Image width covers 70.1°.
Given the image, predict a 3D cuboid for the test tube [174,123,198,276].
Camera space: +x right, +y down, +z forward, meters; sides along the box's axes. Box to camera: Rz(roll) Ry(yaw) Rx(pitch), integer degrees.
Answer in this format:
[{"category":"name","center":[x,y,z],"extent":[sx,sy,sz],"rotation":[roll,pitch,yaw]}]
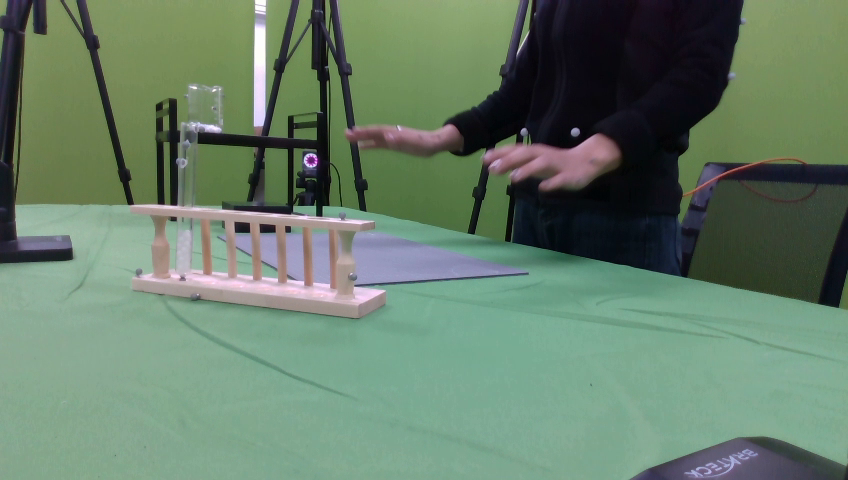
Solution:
[{"category":"test tube","center":[-0.232,-0.038,0.588],"extent":[0.017,0.150,0.017],"rotation":[6,9,-1]}]

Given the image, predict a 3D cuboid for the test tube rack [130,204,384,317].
[{"category":"test tube rack","center":[-0.162,0.013,0.589],"extent":[0.242,0.085,0.067],"rotation":[5,8,17]}]

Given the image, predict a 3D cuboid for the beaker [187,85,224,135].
[{"category":"beaker","center":[-0.466,-0.276,1.296],"extent":[0.074,0.100,0.083],"rotation":[-3,10,-35]}]
